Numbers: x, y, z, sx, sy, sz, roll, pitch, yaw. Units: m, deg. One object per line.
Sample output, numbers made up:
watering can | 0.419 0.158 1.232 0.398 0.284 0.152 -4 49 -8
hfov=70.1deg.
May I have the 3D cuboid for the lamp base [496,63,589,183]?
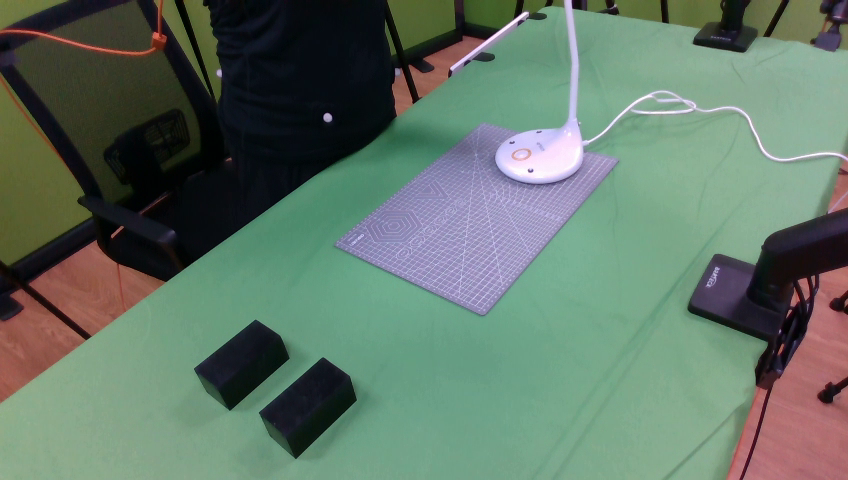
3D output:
lamp base | 0.216 -0.217 1.067 0.180 0.181 0.159 -19 42 -18
